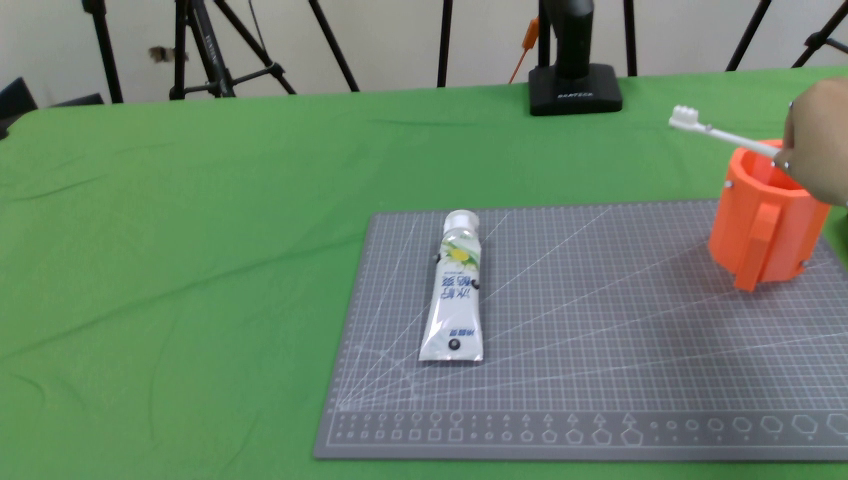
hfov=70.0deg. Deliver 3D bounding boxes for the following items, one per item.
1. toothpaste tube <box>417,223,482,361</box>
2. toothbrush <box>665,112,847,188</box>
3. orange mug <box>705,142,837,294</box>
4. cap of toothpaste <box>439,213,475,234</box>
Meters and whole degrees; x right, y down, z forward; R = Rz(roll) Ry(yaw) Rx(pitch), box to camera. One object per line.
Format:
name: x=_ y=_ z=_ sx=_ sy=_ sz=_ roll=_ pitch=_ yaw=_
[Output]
toothpaste tube: x=0.026 y=0.042 z=0.561 sx=0.055 sy=0.035 sz=0.163 roll=-5 pitch=44 yaw=10
toothbrush: x=0.267 y=-0.064 z=0.456 sx=0.014 sy=0.017 sz=0.180 roll=-28 pitch=44 yaw=-35
orange mug: x=0.296 y=-0.015 z=0.529 sx=0.083 sy=0.102 sz=0.126 roll=18 pitch=42 yaw=28
cap of toothpaste: x=0.034 y=-0.012 z=0.614 sx=0.037 sy=0.038 sz=0.011 roll=1 pitch=47 yaw=10
